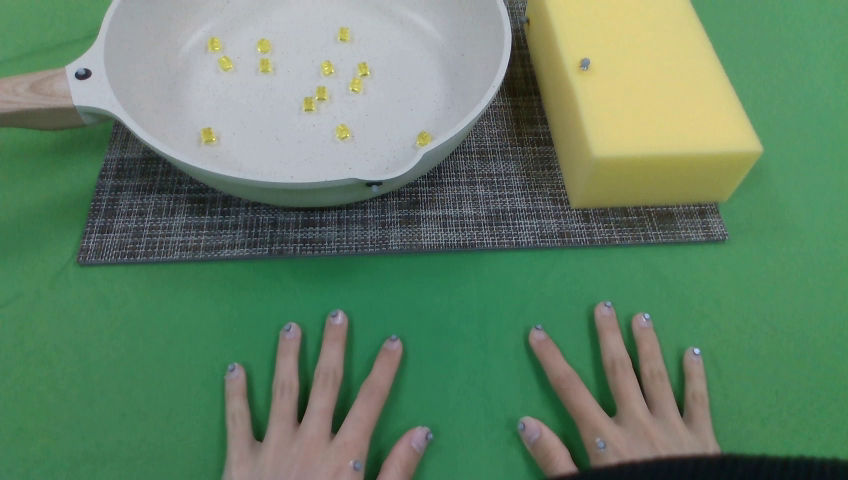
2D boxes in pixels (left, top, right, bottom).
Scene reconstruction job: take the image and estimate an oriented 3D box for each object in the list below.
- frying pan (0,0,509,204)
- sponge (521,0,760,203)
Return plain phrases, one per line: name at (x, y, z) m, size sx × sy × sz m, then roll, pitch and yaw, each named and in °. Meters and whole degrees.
frying pan at (-0.178, -0.116, 0.423) m, size 0.489 × 0.103 × 0.303 m, roll -16°, pitch 59°, yaw -21°
sponge at (0.155, -0.130, 0.473) m, size 0.118 × 0.061 × 0.205 m, roll -4°, pitch 58°, yaw -5°
